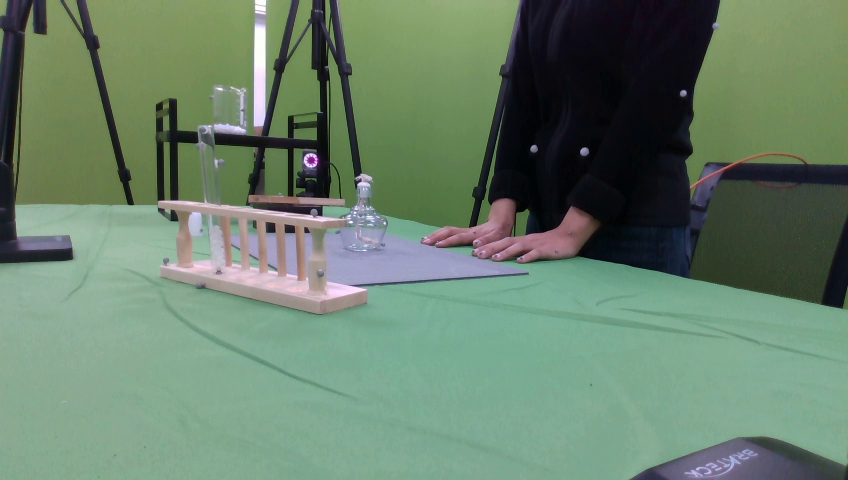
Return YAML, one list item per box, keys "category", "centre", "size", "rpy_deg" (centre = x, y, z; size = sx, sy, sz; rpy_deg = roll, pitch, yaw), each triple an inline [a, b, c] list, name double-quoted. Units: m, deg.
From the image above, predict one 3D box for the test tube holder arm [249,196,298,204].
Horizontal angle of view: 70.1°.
- category: "test tube holder arm"
  centre: [-0.281, -0.074, 1.129]
  size: [0.088, 0.015, 0.010]
  rpy_deg: [1, 9, -22]

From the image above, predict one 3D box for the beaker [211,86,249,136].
- category: "beaker"
  centre: [-0.413, -0.274, 1.297]
  size: [0.074, 0.100, 0.083]
  rpy_deg: [-5, 11, -44]

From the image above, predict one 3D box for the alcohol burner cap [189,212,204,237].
- category: "alcohol burner cap"
  centre: [-0.389, -0.029, 1.026]
  size: [0.034, 0.048, 0.034]
  rpy_deg: [3, 8, 0]

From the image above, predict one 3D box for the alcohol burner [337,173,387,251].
- category: "alcohol burner"
  centre: [-0.095, -0.043, 0.926]
  size: [0.078, 0.119, 0.078]
  rpy_deg: [3, 6, 0]

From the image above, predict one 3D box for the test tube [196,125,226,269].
- category: "test tube"
  centre: [-0.221, -0.043, 0.629]
  size: [0.017, 0.150, 0.017]
  rpy_deg: [-3, 8, 1]

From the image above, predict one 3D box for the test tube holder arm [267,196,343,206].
- category: "test tube holder arm"
  centre: [-0.241, -0.075, 1.152]
  size: [0.179, 0.015, 0.013]
  rpy_deg: [0, 8, -24]

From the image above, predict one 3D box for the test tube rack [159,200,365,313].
- category: "test tube rack"
  centre: [-0.173, 0.009, 0.624]
  size: [0.241, 0.085, 0.067]
  rpy_deg: [7, 9, 34]
